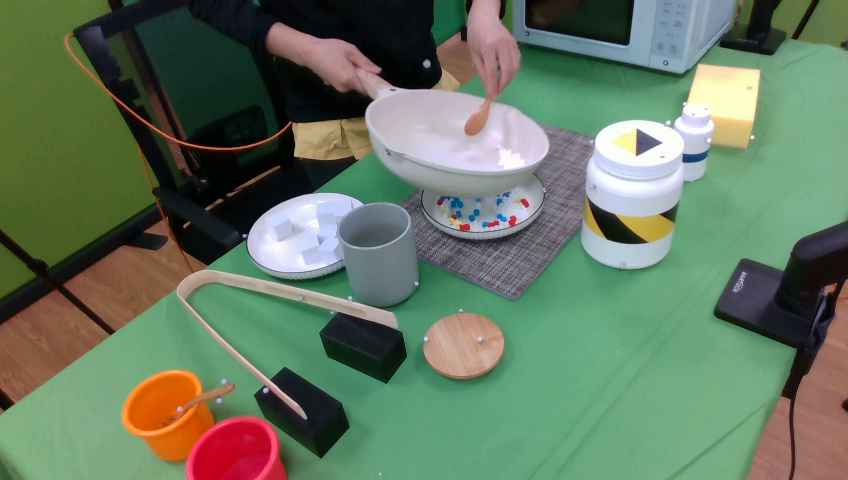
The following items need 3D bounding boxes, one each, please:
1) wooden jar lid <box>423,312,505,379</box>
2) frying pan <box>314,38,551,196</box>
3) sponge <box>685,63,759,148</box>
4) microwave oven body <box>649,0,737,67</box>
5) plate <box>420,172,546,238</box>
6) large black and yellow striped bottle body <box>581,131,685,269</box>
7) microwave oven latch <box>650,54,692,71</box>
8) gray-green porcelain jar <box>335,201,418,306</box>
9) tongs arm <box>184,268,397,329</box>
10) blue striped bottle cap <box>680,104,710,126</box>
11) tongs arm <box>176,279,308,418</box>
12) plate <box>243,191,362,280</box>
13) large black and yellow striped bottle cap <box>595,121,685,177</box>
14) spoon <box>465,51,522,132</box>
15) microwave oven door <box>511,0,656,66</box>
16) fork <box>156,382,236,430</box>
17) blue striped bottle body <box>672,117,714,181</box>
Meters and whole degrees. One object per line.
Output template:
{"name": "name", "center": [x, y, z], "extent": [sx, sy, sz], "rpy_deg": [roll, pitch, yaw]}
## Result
{"name": "wooden jar lid", "center": [0.053, 0.142, 0.800], "extent": [0.108, 0.021, 0.108], "rpy_deg": [-5, 39, 4]}
{"name": "frying pan", "center": [-0.021, -0.221, 1.005], "extent": [0.484, 0.103, 0.308], "rpy_deg": [41, 43, 24]}
{"name": "sponge", "center": [0.569, -0.263, 1.164], "extent": [0.117, 0.061, 0.207], "rpy_deg": [12, 45, 22]}
{"name": "microwave oven body", "center": [0.475, -0.602, 1.411], "extent": [0.438, 0.261, 0.327], "rpy_deg": [23, 50, 32]}
{"name": "plate", "center": [0.099, -0.067, 1.017], "extent": [0.209, 0.038, 0.208], "rpy_deg": [-4, 40, 4]}
{"name": "large black and yellow striped bottle body", "center": [0.301, -0.063, 0.877], "extent": [0.131, 0.185, 0.130], "rpy_deg": [-4, 41, 4]}
{"name": "microwave oven latch", "center": [0.531, -0.386, 1.301], "extent": [0.078, 0.029, 0.030], "rpy_deg": [24, 50, 32]}
{"name": "gray-green porcelain jar", "center": [-0.064, 0.024, 0.872], "extent": [0.106, 0.127, 0.105], "rpy_deg": [-4, 41, 4]}
{"name": "tongs arm", "center": [-0.202, 0.084, 0.848], "extent": [0.382, 0.027, 0.051], "rpy_deg": [11, 44, 35]}
{"name": "blue striped bottle cap", "center": [0.443, -0.205, 0.989], "extent": [0.044, 0.021, 0.044], "rpy_deg": [-1, 41, 2]}
{"name": "tongs arm", "center": [-0.255, 0.132, 0.801], "extent": [0.028, 0.028, 0.384], "rpy_deg": [-41, 40, -23]}
{"name": "plate", "center": [-0.187, -0.005, 0.992], "extent": [0.207, 0.039, 0.206], "rpy_deg": [-3, 41, 3]}
{"name": "large black and yellow striped bottle cap", "center": [0.292, -0.126, 0.821], "extent": [0.115, 0.019, 0.114], "rpy_deg": [-5, 40, 4]}
{"name": "spoon", "center": [0.120, -0.258, 1.029], "extent": [0.021, 0.042, 0.193], "rpy_deg": [13, 61, 33]}
{"name": "microwave oven door", "center": [0.351, -0.540, 1.349], "extent": [0.353, 0.245, 0.039], "rpy_deg": [24, 50, 31]}
{"name": "fork", "center": [-0.262, 0.189, 0.690], "extent": [0.018, 0.206, 0.028], "rpy_deg": [49, 43, -7]}
{"name": "blue striped bottle body", "center": [0.449, -0.165, 1.022], "extent": [0.063, 0.121, 0.063], "rpy_deg": [-5, 41, 4]}
